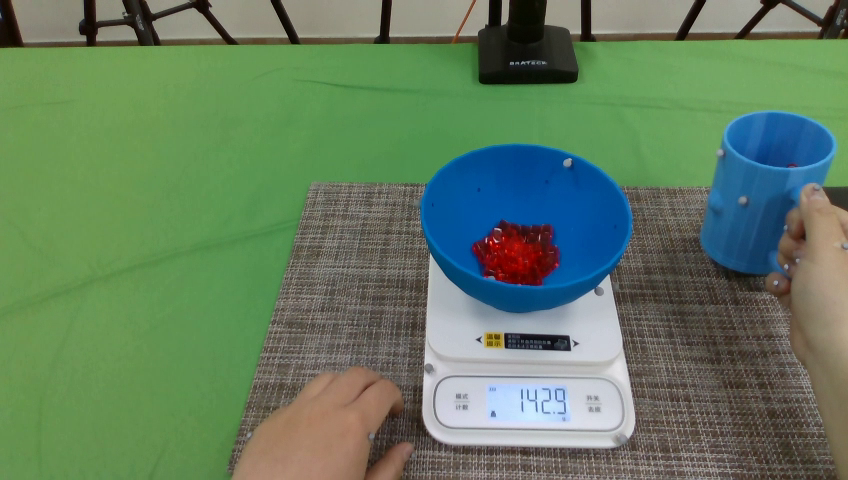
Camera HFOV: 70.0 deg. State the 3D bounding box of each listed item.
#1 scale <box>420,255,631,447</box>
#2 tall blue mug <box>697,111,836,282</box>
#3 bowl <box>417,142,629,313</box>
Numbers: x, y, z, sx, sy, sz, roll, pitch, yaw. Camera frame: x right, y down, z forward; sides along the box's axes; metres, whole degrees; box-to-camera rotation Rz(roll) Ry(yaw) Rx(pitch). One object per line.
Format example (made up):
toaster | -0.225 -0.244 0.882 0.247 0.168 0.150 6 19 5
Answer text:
scale | 0.074 0.061 0.475 0.148 0.032 0.199 1 47 3
tall blue mug | 0.277 -0.028 0.476 0.078 0.109 0.106 -28 46 -19
bowl | 0.070 0.003 0.458 0.151 0.077 0.150 0 47 1
